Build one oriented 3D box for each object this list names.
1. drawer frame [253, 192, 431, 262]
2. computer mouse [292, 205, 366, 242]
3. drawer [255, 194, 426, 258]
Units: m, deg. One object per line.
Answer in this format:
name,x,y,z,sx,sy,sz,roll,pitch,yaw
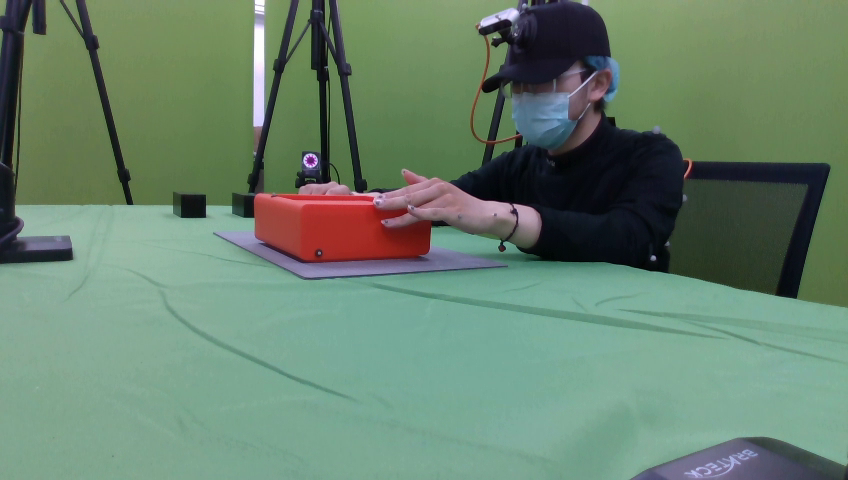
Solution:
drawer frame,-0.129,-0.027,0.911,0.203,0.082,0.212,-2,9,-32
computer mouse,-0.151,-0.027,0.956,0.117,0.041,0.062,-10,24,-3
drawer,-0.130,-0.025,0.912,0.195,0.073,0.210,-1,9,-31
